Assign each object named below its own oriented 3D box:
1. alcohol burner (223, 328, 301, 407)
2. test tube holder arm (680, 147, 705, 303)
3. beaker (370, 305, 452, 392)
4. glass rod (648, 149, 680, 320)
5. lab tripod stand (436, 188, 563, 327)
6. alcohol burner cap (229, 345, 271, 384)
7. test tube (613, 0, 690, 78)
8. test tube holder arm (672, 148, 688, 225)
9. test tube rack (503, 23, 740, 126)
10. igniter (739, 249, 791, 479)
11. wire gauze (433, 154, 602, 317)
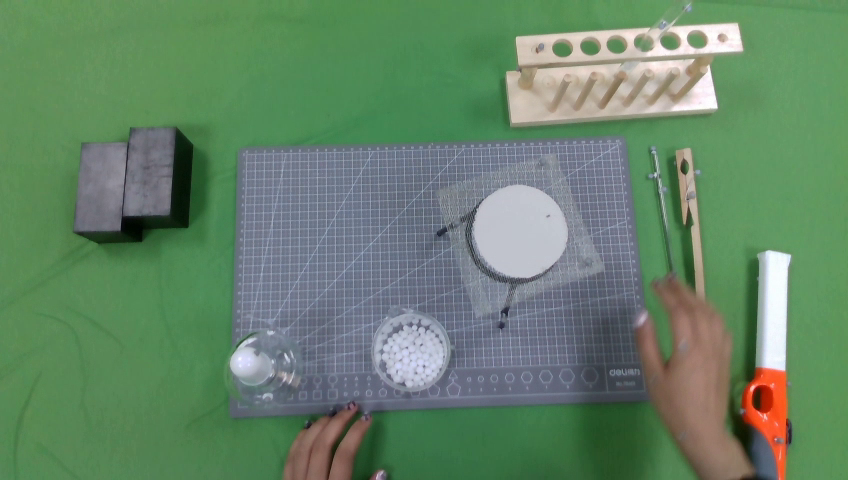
[{"bbox_3d":[-0.162,0.123,0.593,0.078,0.119,0.077,0,75,0],"label":"alcohol burner"},{"bbox_3d":[0.301,-0.018,0.681,0.013,0.015,0.177,-10,76,31],"label":"test tube holder arm"},{"bbox_3d":[-0.014,0.110,0.606,0.074,0.100,0.083,-23,77,-6],"label":"beaker"},{"bbox_3d":[0.270,-0.009,0.685,0.008,0.008,0.198,-3,77,-2],"label":"glass rod"},{"bbox_3d":[0.077,0.009,0.612,0.148,0.132,0.147,0,78,1],"label":"lab tripod stand"},{"bbox_3d":[-0.163,0.113,0.558,0.034,0.048,0.033,1,67,-1],"label":"alcohol burner cap"},{"bbox_3d":[0.236,-0.212,0.640,0.017,0.150,0.017,2,76,-6],"label":"test tube"},{"bbox_3d":[0.294,-0.061,0.693,0.010,0.015,0.087,-10,76,31],"label":"test tube holder arm"},{"bbox_3d":[0.218,-0.184,0.684,0.242,0.085,0.066,-4,77,-2],"label":"test tube rack"},{"bbox_3d":[0.363,0.145,0.643,0.057,0.025,0.275,11,77,-8],"label":"igniter"},{"bbox_3d":[0.083,-0.008,0.547,0.121,0.011,0.124,-18,78,-3],"label":"wire gauze"}]
